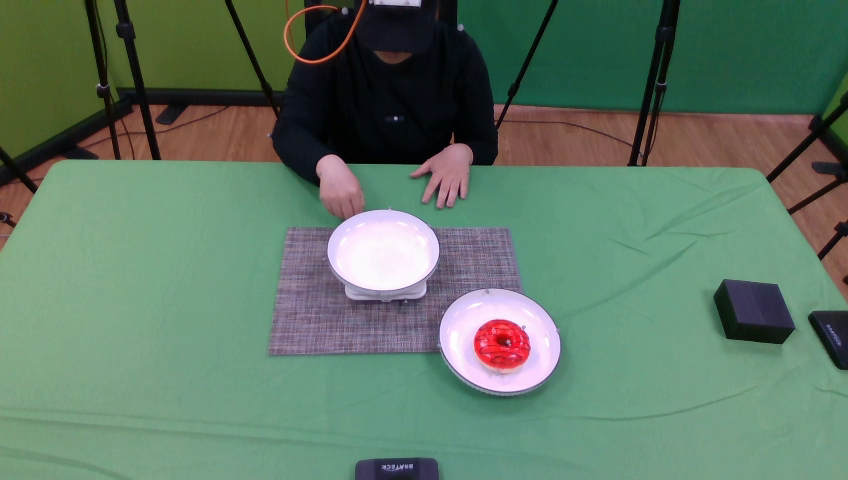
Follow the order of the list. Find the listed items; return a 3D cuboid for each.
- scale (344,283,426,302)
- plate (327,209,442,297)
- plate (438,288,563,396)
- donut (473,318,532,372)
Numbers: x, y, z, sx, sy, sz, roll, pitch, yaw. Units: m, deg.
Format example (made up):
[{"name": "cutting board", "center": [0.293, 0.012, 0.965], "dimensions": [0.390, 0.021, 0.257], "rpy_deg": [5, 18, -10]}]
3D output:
[{"name": "scale", "center": [-0.075, 0.033, 1.149], "dimensions": [0.149, 0.032, 0.199], "rpy_deg": [0, 45, -5]}, {"name": "plate", "center": [-0.071, 0.027, 1.110], "dimensions": [0.208, 0.039, 0.206], "rpy_deg": [2, 46, -1]}, {"name": "plate", "center": [0.127, 0.173, 1.025], "dimensions": [0.209, 0.038, 0.208], "rpy_deg": [3, 48, -3]}, {"name": "donut", "center": [0.131, 0.174, 1.010], "dimensions": [0.099, 0.048, 0.098], "rpy_deg": [1, 48, -1]}]
